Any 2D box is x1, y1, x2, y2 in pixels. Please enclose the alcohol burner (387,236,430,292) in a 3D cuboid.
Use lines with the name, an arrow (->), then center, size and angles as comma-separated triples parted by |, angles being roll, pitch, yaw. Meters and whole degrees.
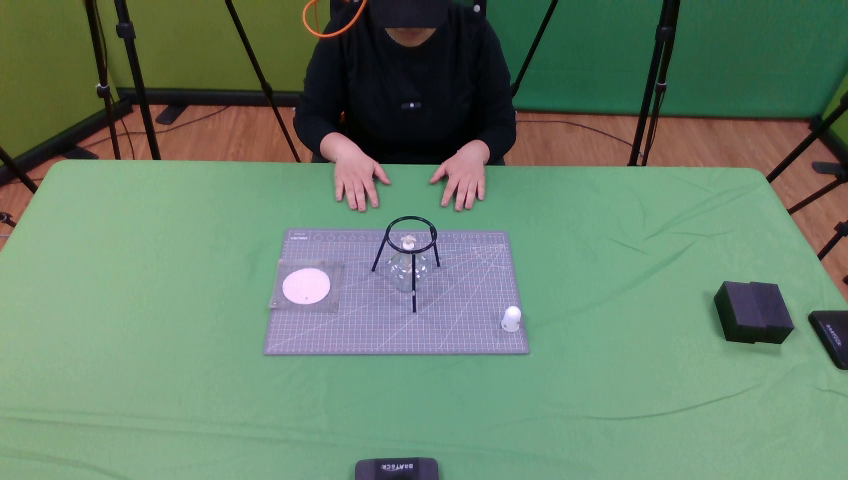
alcohol burner -> -0.028, 0.038, 1.093 | 0.078, 0.120, 0.077 | 1, 46, -1

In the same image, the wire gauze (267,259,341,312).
wire gauze -> -0.218, 0.081, 1.110 | 0.125, 0.011, 0.120 | 1, 45, 0

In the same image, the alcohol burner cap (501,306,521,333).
alcohol burner cap -> 0.154, 0.137, 1.061 | 0.034, 0.048, 0.033 | 1, 45, -1

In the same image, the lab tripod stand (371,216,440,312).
lab tripod stand -> -0.029, 0.033, 1.084 | 0.148, 0.132, 0.147 | 1, 47, -1
